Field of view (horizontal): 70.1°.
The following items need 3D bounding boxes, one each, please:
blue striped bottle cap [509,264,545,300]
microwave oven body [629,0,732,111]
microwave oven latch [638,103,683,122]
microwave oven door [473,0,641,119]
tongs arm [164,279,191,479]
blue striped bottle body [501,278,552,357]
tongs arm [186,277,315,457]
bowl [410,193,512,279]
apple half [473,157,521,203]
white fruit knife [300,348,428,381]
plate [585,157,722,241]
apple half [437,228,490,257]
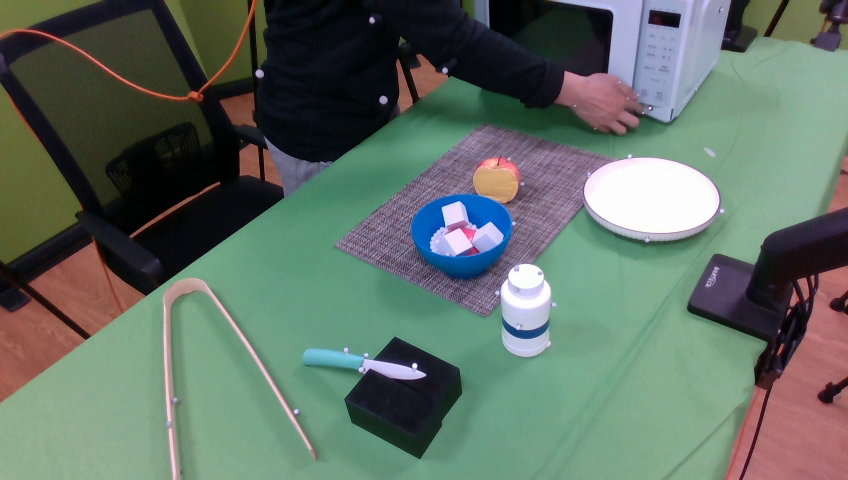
[{"bbox_3d":[0.125,0.050,0.735,0.044,0.021,0.044,-6,39,5],"label":"blue striped bottle cap"},{"bbox_3d":[0.377,-0.463,1.267,0.438,0.261,0.327,21,49,30],"label":"microwave oven body"},{"bbox_3d":[0.452,-0.253,1.160,0.030,0.029,0.078,-31,45,-23],"label":"microwave oven latch"},{"bbox_3d":[0.253,-0.392,1.195,0.353,0.245,0.039,23,49,31],"label":"microwave oven door"},{"bbox_3d":[-0.313,0.182,0.790,0.051,0.026,0.381,-20,41,-14],"label":"tongs arm"},{"bbox_3d":[0.129,0.089,0.769,0.063,0.121,0.063,-4,40,4],"label":"blue striped bottle body"},{"bbox_3d":[-0.242,0.153,0.815,0.028,0.028,0.384,-32,45,-21],"label":"tongs arm"},{"bbox_3d":[0.057,0.005,0.905,0.151,0.077,0.150,-3,40,3],"label":"bowl"},{"bbox_3d":[0.127,-0.106,1.030,0.080,0.075,0.053,4,36,19],"label":"apple half"},{"bbox_3d":[-0.079,0.154,0.748,0.206,0.027,0.016,1,21,34],"label":"white fruit knife"},{"bbox_3d":[0.367,-0.063,0.979,0.207,0.039,0.206,-4,40,4],"label":"plate"},{"bbox_3d":[0.056,0.003,0.902,0.081,0.033,0.081,-2,39,2],"label":"apple half"}]
